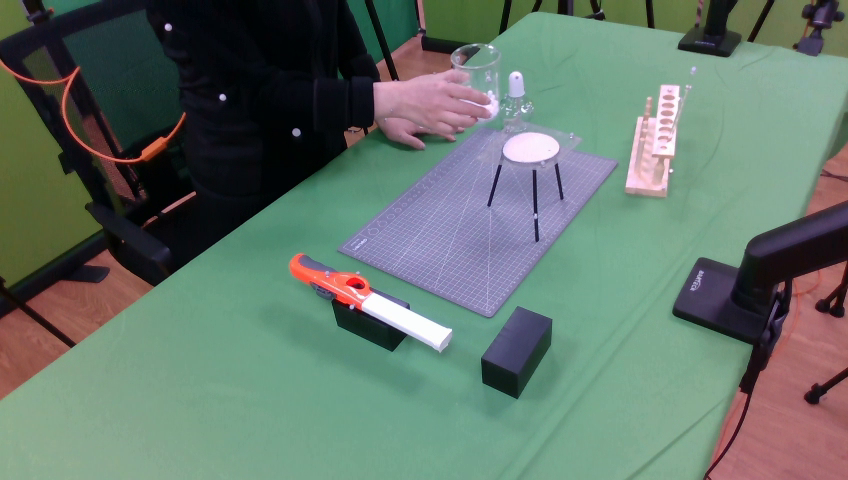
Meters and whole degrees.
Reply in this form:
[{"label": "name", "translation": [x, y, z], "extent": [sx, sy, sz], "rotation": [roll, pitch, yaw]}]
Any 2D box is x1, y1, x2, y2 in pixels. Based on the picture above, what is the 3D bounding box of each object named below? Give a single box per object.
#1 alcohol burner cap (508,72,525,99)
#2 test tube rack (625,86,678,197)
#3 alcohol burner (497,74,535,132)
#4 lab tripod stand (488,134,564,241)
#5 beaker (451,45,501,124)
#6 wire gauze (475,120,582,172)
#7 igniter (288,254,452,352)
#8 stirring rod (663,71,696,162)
[{"label": "alcohol burner cap", "translation": [0.181, -0.306, 1.186], "extent": [0.034, 0.048, 0.033], "rotation": [-7, 39, 6]}, {"label": "test tube rack", "translation": [0.412, -0.184, 1.088], "extent": [0.066, 0.085, 0.242], "rotation": [9, 43, 18]}, {"label": "alcohol burner", "translation": [0.184, -0.278, 1.210], "extent": [0.078, 0.119, 0.077], "rotation": [-3, 42, 4]}, {"label": "lab tripod stand", "translation": [0.168, -0.092, 0.972], "extent": [0.148, 0.132, 0.147], "rotation": [-5, 41, 5]}, {"label": "beaker", "translation": [0.084, -0.238, 0.928], "extent": [0.084, 0.101, 0.073], "rotation": [-37, 51, -27]}, {"label": "wire gauze", "translation": [0.161, -0.143, 0.928], "extent": [0.120, 0.011, 0.125], "rotation": [20, 47, 30]}, {"label": "igniter", "translation": [-0.083, 0.079, 0.818], "extent": [0.274, 0.025, 0.057], "rotation": [23, 46, 27]}, {"label": "stirring rod", "translation": [0.410, -0.195, 0.981], "extent": [0.014, 0.177, 0.006], "rotation": [11, 50, 13]}]
